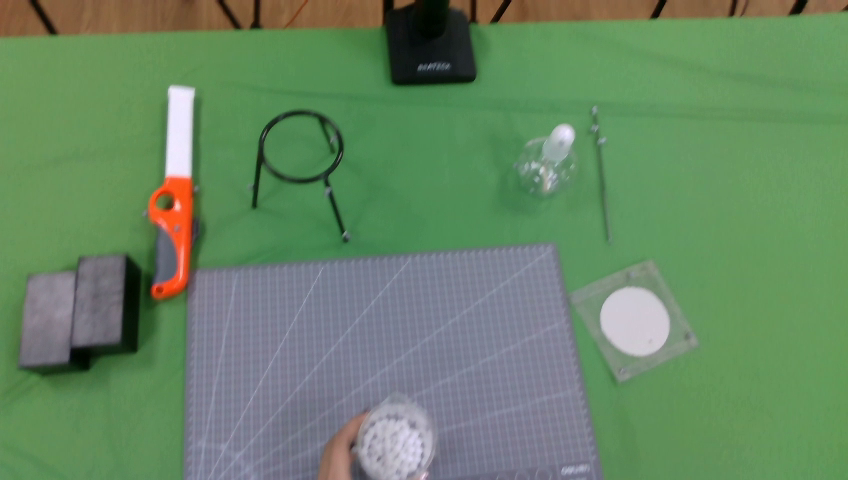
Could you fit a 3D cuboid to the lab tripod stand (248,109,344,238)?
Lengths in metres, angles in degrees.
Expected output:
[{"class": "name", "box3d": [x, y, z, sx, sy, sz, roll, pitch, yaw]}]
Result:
[{"class": "lab tripod stand", "box3d": [-0.141, -0.082, 0.706, 0.148, 0.132, 0.147, 2, 67, -4]}]

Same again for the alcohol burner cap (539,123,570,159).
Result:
[{"class": "alcohol burner cap", "box3d": [0.159, -0.121, 0.726, 0.034, 0.048, 0.033, 1, 73, -4]}]

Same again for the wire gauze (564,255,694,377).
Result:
[{"class": "wire gauze", "box3d": [0.256, 0.092, 0.751, 0.125, 0.011, 0.120, -22, 73, -11]}]

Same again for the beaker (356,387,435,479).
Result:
[{"class": "beaker", "box3d": [-0.032, 0.199, 0.611, 0.074, 0.101, 0.083, -1, 66, -8]}]

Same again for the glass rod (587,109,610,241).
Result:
[{"class": "glass rod", "box3d": [0.235, -0.092, 0.819, 0.008, 0.008, 0.198, 1, 69, -6]}]

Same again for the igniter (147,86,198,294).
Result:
[{"class": "igniter", "box3d": [-0.304, -0.067, 0.738, 0.057, 0.025, 0.274, 2, 68, -22]}]

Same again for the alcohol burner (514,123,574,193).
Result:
[{"class": "alcohol burner", "box3d": [0.155, -0.108, 0.760, 0.078, 0.120, 0.077, 2, 67, -5]}]
